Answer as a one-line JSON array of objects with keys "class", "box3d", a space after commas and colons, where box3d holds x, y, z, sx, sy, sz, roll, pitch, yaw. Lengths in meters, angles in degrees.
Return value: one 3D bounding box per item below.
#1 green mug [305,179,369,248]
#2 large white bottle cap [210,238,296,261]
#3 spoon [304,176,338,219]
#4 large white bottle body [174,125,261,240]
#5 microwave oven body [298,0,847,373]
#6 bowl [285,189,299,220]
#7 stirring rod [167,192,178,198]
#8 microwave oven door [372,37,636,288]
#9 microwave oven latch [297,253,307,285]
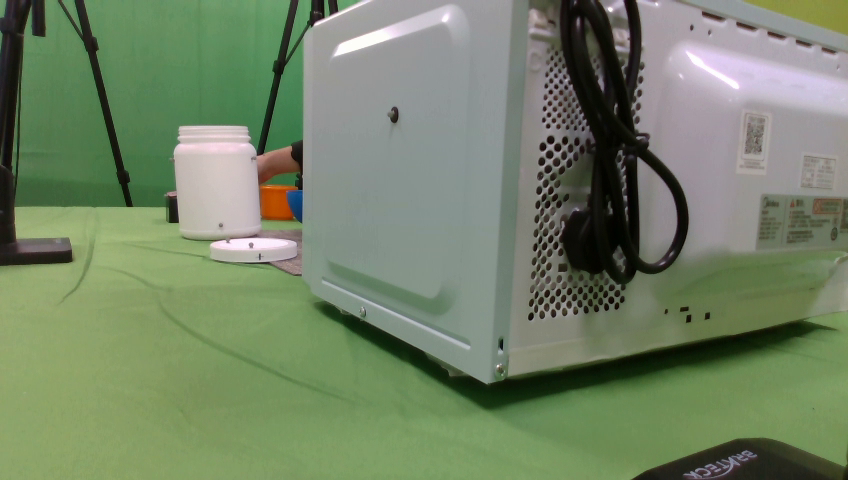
[{"class": "green mug", "box3d": [-0.133, -0.044, 0.977, 0.092, 0.105, 0.126, 6, 8, 32]}, {"class": "large white bottle cap", "box3d": [-0.236, 0.012, 0.839, 0.115, 0.018, 0.115, 1, 7, 0]}, {"class": "spoon", "box3d": [-0.201, -0.084, 1.146, 0.042, 0.021, 0.193, 2, 31, -25]}, {"class": "large white bottle body", "box3d": [-0.349, -0.100, 1.025, 0.131, 0.184, 0.130, -1, 9, 0]}, {"class": "microwave oven body", "box3d": [0.151, -0.055, 0.542, 0.444, 0.260, 0.324, -1, 7, -33]}, {"class": "bowl", "box3d": [-0.180, -0.050, 1.113, 0.151, 0.077, 0.151, 3, 8, 0]}, {"class": "stirring rod", "box3d": [-0.468, -0.106, 1.281, 0.014, 0.006, 0.177, 31, 25, 20]}, {"class": "microwave oven door", "box3d": [0.109, -0.080, 0.686, 0.358, 0.243, 0.039, -2, 9, -33]}, {"class": "microwave oven latch", "box3d": [-0.082, 0.027, 0.582, 0.079, 0.029, 0.030, -1, 7, -32]}]
